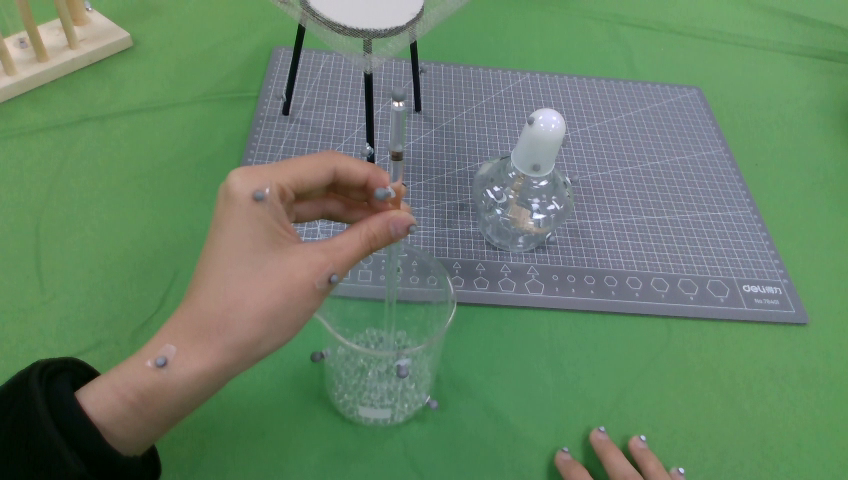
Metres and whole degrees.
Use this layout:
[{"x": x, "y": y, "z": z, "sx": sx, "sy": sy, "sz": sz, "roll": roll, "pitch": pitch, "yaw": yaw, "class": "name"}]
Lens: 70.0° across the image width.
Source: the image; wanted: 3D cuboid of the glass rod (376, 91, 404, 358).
[{"x": -0.020, "y": 0.007, "z": 0.327, "sx": 0.008, "sy": 0.201, "sz": 0.008, "roll": 4, "pitch": 47, "yaw": -3, "class": "glass rod"}]

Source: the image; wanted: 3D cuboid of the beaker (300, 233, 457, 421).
[{"x": -0.028, "y": 0.057, "z": 0.357, "sx": 0.084, "sy": 0.101, "sz": 0.073, "roll": -4, "pitch": 51, "yaw": -10, "class": "beaker"}]

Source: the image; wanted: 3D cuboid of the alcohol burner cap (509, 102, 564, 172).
[{"x": 0.080, "y": -0.073, "z": 0.419, "sx": 0.034, "sy": 0.048, "sz": 0.033, "roll": 4, "pitch": 55, "yaw": -5, "class": "alcohol burner cap"}]

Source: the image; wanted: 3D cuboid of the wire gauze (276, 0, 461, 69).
[{"x": -0.046, "y": -0.178, "z": 0.432, "sx": 0.124, "sy": 0.011, "sz": 0.121, "roll": 36, "pitch": 56, "yaw": 18, "class": "wire gauze"}]

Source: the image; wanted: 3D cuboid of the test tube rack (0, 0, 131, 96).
[{"x": -0.378, "y": -0.169, "z": 0.497, "sx": 0.066, "sy": 0.086, "sz": 0.242, "roll": 35, "pitch": 54, "yaw": 19, "class": "test tube rack"}]

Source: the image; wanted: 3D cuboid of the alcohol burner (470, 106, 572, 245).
[{"x": 0.075, "y": -0.051, "z": 0.447, "sx": 0.078, "sy": 0.120, "sz": 0.077, "roll": 5, "pitch": 49, "yaw": -6, "class": "alcohol burner"}]

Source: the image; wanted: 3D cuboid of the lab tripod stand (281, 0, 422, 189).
[{"x": -0.051, "y": -0.136, "z": 0.484, "sx": 0.149, "sy": 0.132, "sz": 0.147, "roll": 5, "pitch": 51, "yaw": -6, "class": "lab tripod stand"}]

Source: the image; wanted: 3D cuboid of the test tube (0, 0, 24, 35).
[{"x": -0.361, "y": -0.237, "z": 0.489, "sx": 0.017, "sy": 0.151, "sz": 0.017, "roll": 2, "pitch": 48, "yaw": -2, "class": "test tube"}]
